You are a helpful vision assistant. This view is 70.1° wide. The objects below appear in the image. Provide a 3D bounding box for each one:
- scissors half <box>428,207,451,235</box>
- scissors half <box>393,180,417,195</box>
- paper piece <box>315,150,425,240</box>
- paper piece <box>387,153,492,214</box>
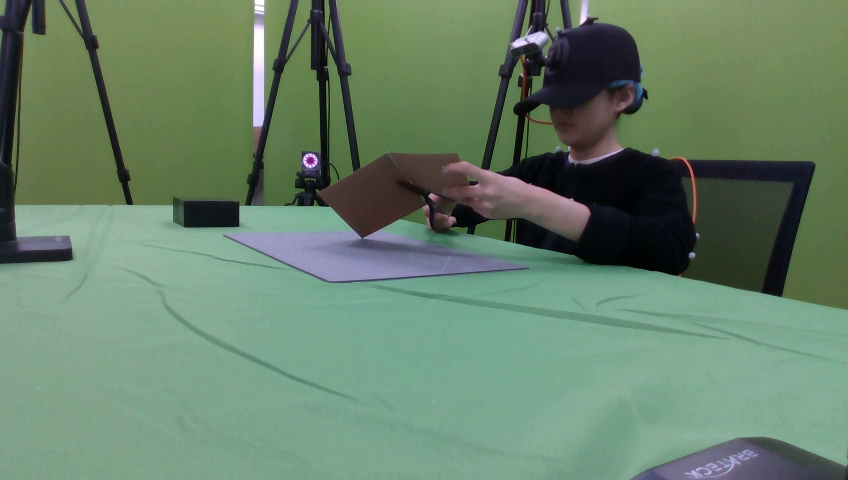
[{"bbox_3d":[0.001,-0.066,1.022,0.013,0.040,0.176,8,-34,39],"label":"scissors half"},{"bbox_3d":[0.009,-0.089,1.026,0.012,0.040,0.176,13,7,41],"label":"scissors half"},{"bbox_3d":[-0.085,-0.068,0.998,0.138,0.136,0.008,-29,41,12],"label":"paper piece"},{"bbox_3d":[0.024,-0.087,0.940,0.135,0.004,0.136,10,-29,39],"label":"paper piece"}]
